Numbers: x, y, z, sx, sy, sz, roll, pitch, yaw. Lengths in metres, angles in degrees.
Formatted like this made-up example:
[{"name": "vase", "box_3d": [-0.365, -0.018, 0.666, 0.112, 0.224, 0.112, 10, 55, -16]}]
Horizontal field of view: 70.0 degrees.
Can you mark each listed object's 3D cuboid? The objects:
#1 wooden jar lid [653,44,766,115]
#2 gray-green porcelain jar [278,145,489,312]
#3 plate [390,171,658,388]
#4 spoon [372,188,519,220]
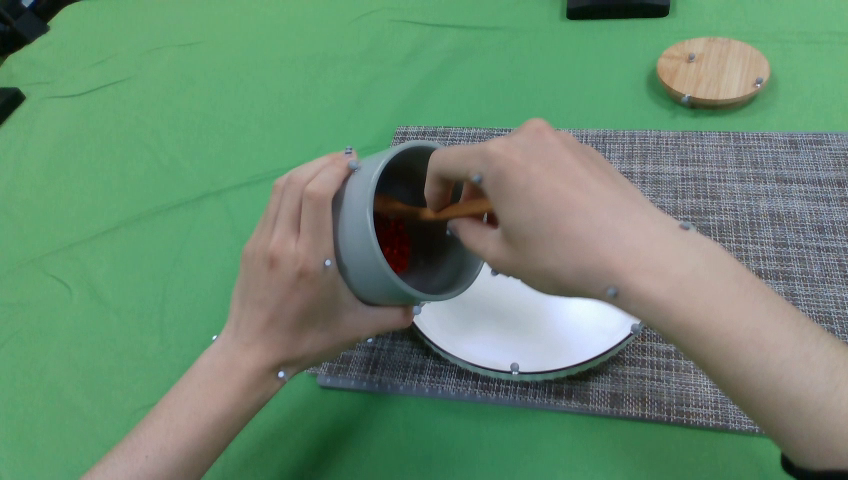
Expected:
[{"name": "wooden jar lid", "box_3d": [0.294, -0.166, 0.630, 0.108, 0.021, 0.107, -5, 51, 7]}, {"name": "gray-green porcelain jar", "box_3d": [-0.035, -0.002, 0.432, 0.126, 0.107, 0.105, -10, 40, 48]}, {"name": "plate", "box_3d": [0.078, 0.029, 0.491, 0.207, 0.039, 0.205, -5, 50, 7]}, {"name": "spoon", "box_3d": [-0.007, -0.022, 0.391, 0.042, 0.022, 0.192, -8, 11, -36]}]
